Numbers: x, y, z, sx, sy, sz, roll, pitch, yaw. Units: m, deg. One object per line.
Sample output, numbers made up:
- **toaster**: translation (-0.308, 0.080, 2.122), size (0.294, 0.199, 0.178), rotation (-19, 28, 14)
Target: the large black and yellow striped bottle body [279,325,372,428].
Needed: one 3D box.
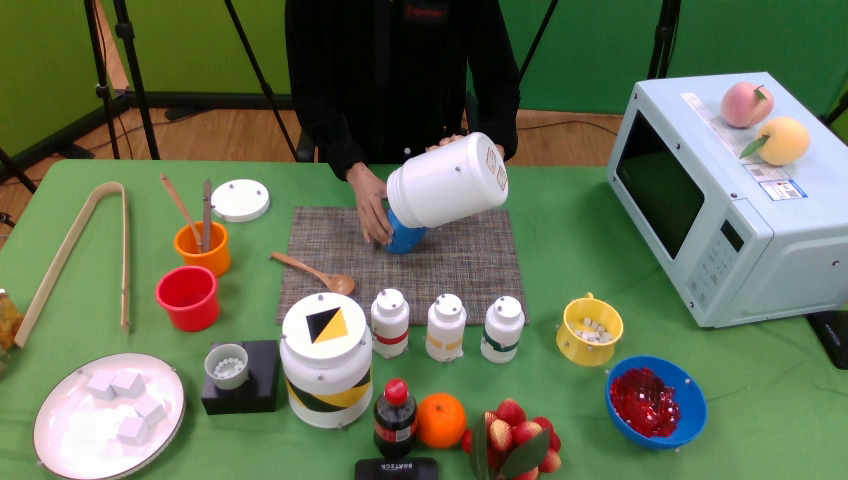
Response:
- **large black and yellow striped bottle body**: translation (-0.143, 0.181, 0.900), size (0.131, 0.185, 0.130), rotation (2, 46, -2)

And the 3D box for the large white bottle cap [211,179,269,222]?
- **large white bottle cap**: translation (-0.380, -0.082, 1.250), size (0.115, 0.018, 0.114), rotation (2, 47, -2)

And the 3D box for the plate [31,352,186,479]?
- **plate**: translation (-0.459, 0.262, 0.898), size (0.209, 0.038, 0.208), rotation (2, 46, -2)

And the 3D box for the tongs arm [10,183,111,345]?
- **tongs arm**: translation (-0.658, 0.027, 1.109), size (0.028, 0.028, 0.385), rotation (-2, 45, 2)

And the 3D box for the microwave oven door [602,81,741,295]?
- **microwave oven door**: translation (0.456, -0.107, 1.162), size (0.039, 0.245, 0.353), rotation (-7, 47, -11)

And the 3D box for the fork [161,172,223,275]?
- **fork**: translation (-0.425, -0.030, 1.103), size (0.028, 0.018, 0.207), rotation (-28, 98, -12)

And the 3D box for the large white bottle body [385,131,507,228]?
- **large white bottle body**: translation (0.037, -0.097, 1.052), size (0.184, 0.131, 0.130), rotation (-18, 39, 28)

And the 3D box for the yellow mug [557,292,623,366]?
- **yellow mug**: translation (0.286, 0.145, 1.051), size (0.100, 0.064, 0.130), rotation (7, 45, 4)

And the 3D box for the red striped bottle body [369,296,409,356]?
- **red striped bottle body**: translation (-0.058, 0.135, 0.997), size (0.063, 0.120, 0.062), rotation (5, 48, -6)

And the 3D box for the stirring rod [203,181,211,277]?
- **stirring rod**: translation (-0.396, -0.021, 1.107), size (0.014, 0.006, 0.176), rotation (-1, 89, -1)

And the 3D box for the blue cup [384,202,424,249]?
- **blue cup**: translation (-0.037, -0.035, 1.154), size (0.093, 0.100, 0.092), rotation (8, 53, -11)

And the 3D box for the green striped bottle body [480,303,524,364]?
- **green striped bottle body**: translation (0.129, 0.147, 1.000), size (0.063, 0.120, 0.063), rotation (2, 46, -2)

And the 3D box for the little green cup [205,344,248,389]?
- **little green cup**: translation (-0.293, 0.191, 0.909), size (0.061, 0.039, 0.061), rotation (1, 47, -1)

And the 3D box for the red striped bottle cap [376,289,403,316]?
- **red striped bottle cap**: translation (-0.055, 0.098, 0.958), size (0.044, 0.018, 0.044), rotation (0, 48, 0)

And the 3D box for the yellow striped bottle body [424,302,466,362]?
- **yellow striped bottle body**: translation (0.035, 0.143, 0.995), size (0.063, 0.121, 0.062), rotation (3, 46, -3)

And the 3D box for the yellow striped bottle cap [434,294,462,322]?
- **yellow striped bottle cap**: translation (0.038, 0.107, 0.958), size (0.044, 0.019, 0.044), rotation (2, 45, -2)

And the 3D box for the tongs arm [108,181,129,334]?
- **tongs arm**: translation (-0.571, 0.019, 1.123), size (0.051, 0.026, 0.382), rotation (-10, 47, -12)

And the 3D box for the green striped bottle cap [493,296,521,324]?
- **green striped bottle cap**: translation (0.133, 0.111, 0.962), size (0.044, 0.020, 0.044), rotation (2, 47, -2)

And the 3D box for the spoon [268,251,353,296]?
- **spoon**: translation (-0.212, 0.057, 1.121), size (0.193, 0.022, 0.041), rotation (24, 74, 18)

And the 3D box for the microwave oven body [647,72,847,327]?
- **microwave oven body**: translation (0.607, -0.089, 1.164), size (0.326, 0.261, 0.438), rotation (-7, 46, -10)

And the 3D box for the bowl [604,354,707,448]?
- **bowl**: translation (0.346, 0.261, 0.937), size (0.151, 0.077, 0.150), rotation (2, 46, -2)

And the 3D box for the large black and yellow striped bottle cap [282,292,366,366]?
- **large black and yellow striped bottle cap**: translation (-0.138, 0.121, 0.841), size (0.115, 0.019, 0.114), rotation (3, 47, -3)

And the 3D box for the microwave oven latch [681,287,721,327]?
- **microwave oven latch**: translation (0.494, 0.119, 1.087), size (0.030, 0.029, 0.078), rotation (-6, 46, -9)
